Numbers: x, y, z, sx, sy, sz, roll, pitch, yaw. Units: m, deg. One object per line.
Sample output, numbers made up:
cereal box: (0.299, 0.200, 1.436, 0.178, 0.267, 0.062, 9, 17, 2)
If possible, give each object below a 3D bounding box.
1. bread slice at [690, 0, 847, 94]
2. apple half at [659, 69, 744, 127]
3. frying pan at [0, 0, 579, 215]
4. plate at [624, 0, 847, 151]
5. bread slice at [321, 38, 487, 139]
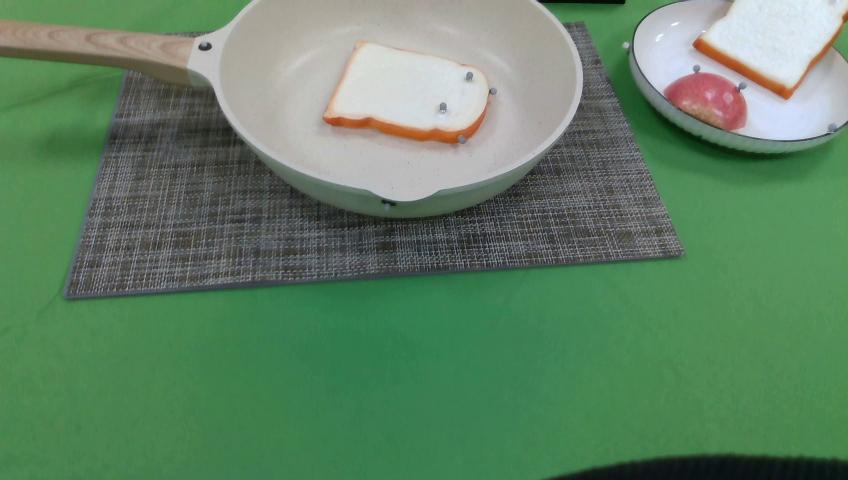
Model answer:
bread slice: (0.344, -0.217, 0.593, 0.104, 0.019, 0.131, 39, 81, 21)
apple half: (0.247, -0.129, 0.526, 0.081, 0.033, 0.080, 14, 31, -9)
frying pan: (-0.124, -0.142, 0.491, 0.489, 0.103, 0.303, 6, 52, -9)
plate: (0.289, -0.155, 0.571, 0.208, 0.039, 0.205, 2, 54, -2)
bread slice: (-0.012, -0.134, 0.539, 0.134, 0.018, 0.106, 9, 55, 4)
